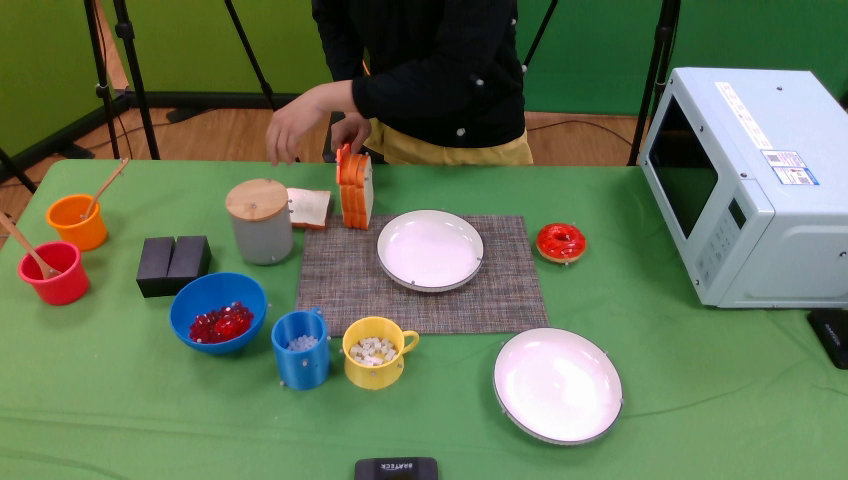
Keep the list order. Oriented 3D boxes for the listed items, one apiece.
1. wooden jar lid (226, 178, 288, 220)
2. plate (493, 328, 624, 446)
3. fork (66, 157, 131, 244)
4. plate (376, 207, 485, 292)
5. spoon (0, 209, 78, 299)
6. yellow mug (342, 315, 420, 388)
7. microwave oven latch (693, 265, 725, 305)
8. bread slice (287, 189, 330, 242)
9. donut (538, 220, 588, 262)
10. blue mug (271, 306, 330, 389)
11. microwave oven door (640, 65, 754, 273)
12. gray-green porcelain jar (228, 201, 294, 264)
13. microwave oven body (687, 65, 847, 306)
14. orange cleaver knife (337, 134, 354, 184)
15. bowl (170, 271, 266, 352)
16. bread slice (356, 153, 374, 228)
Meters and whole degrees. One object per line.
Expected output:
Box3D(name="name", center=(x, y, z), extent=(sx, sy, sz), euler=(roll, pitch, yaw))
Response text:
Box3D(name="wooden jar lid", center=(-0.296, -0.070, 1.081), extent=(0.108, 0.021, 0.107), euler=(1, 45, 0))
Box3D(name="plate", center=(0.213, 0.236, 0.974), extent=(0.208, 0.039, 0.206), euler=(2, 46, -2))
Box3D(name="fork", center=(-0.608, -0.074, 1.132), extent=(0.207, 0.019, 0.028), euler=(-52, 49, 10))
Box3D(name="plate", center=(0.012, 0.021, 1.159), extent=(0.209, 0.038, 0.208), euler=(2, 47, -2))
Box3D(name="spoon", center=(-0.668, 0.021, 1.040), extent=(0.041, 0.021, 0.194), euler=(-41, 105, -30))
Box3D(name="yellow mug", center=(-0.068, 0.177, 0.990), extent=(0.131, 0.064, 0.099), euler=(-15, 50, -19))
Box3D(name="microwave oven latch", center=(0.522, 0.081, 1.115), extent=(0.030, 0.029, 0.078), euler=(2, 46, -1))
Box3D(name="bread slice", center=(-0.266, -0.057, 1.253), extent=(0.132, 0.019, 0.104), euler=(18, 54, -16))
Box3D(name="donut", center=(0.273, 0.001, 1.198), extent=(0.099, 0.048, 0.098), euler=(0, 46, 0))
Box3D(name="blue mug", center=(-0.188, 0.163, 0.969), extent=(0.082, 0.106, 0.116), euler=(15, 47, 10))
Box3D(name="microwave oven door", center=(0.523, -0.147, 1.193), extent=(0.039, 0.245, 0.353), euler=(0, 47, -3))
Box3D(name="gray-green porcelain jar", center=(-0.300, -0.027, 1.126), extent=(0.106, 0.127, 0.105), euler=(2, 46, -2))
Box3D(name="microwave oven body", center=(0.669, -0.111, 1.176), extent=(0.326, 0.261, 0.439), euler=(0, 46, -3))
Box3D(name="orange cleaver knife", center=(-0.160, -0.168, 1.233), extent=(0.012, 0.077, 0.210), euler=(1, 21, 0))
Box3D(name="bowl", center=(-0.333, 0.132, 1.006), extent=(0.151, 0.077, 0.150), euler=(2, 46, -2))
Box3D(name="bread slice", center=(-0.117, -0.104, 1.208), extent=(0.018, 0.135, 0.106), euler=(3, 47, 3))
